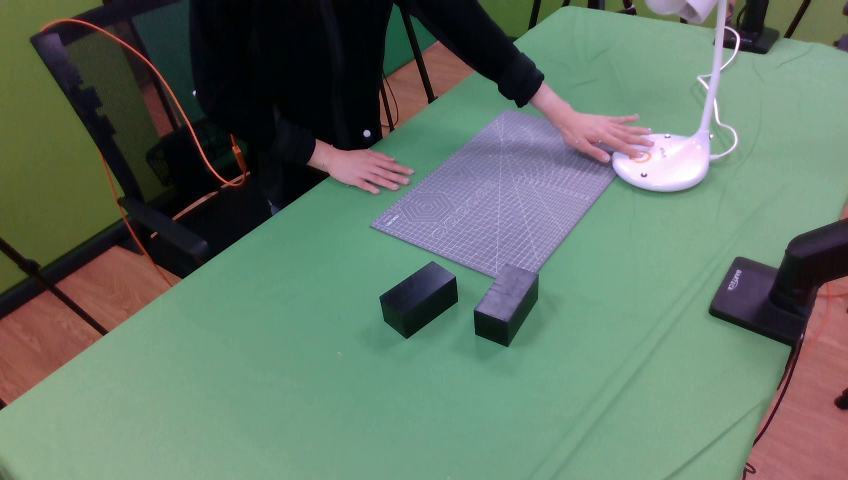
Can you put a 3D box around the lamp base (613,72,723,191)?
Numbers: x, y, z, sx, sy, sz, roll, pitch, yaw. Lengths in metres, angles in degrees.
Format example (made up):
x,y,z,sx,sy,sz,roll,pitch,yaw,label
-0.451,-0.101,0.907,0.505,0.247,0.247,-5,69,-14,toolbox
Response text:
x,y,z,sx,sy,sz,roll,pitch,yaw,label
0.423,-0.198,1.020,0.179,0.181,0.159,-6,42,-3,lamp base

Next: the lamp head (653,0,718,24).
x,y,z,sx,sy,sz,roll,pitch,yaw,label
0.356,-0.361,0.788,0.123,0.113,0.111,-51,42,13,lamp head
